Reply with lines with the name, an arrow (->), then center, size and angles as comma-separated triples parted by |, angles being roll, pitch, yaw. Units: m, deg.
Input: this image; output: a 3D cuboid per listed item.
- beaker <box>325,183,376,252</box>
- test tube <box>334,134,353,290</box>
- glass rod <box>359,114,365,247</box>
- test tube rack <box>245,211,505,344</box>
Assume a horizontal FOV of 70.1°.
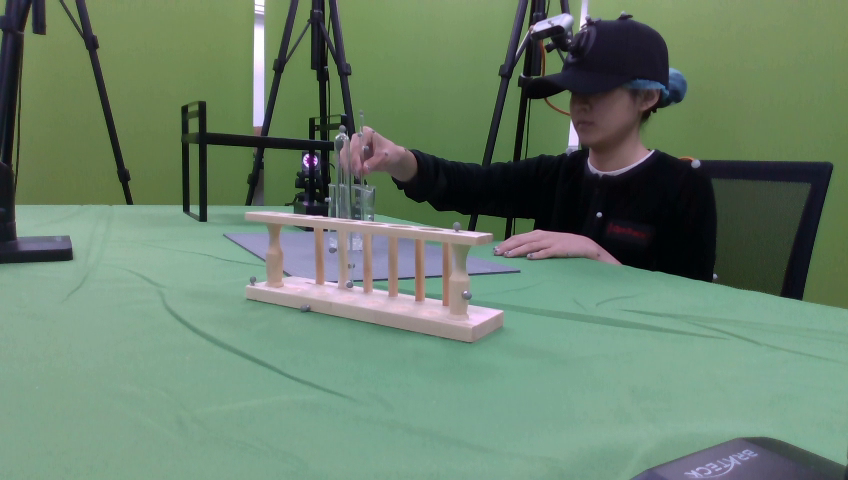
beaker -> -0.110, -0.034, 0.920 | 0.083, 0.100, 0.074 | 10, 11, 43
test tube -> -0.077, -0.026, 0.579 | 0.017, 0.150, 0.017 | 0, 7, 0
glass rod -> -0.092, -0.087, 0.902 | 0.008, 0.199, 0.008 | -1, 6, 0
test tube rack -> -0.049, 0.025, 0.547 | 0.241, 0.085, 0.067 | 7, 8, 29
